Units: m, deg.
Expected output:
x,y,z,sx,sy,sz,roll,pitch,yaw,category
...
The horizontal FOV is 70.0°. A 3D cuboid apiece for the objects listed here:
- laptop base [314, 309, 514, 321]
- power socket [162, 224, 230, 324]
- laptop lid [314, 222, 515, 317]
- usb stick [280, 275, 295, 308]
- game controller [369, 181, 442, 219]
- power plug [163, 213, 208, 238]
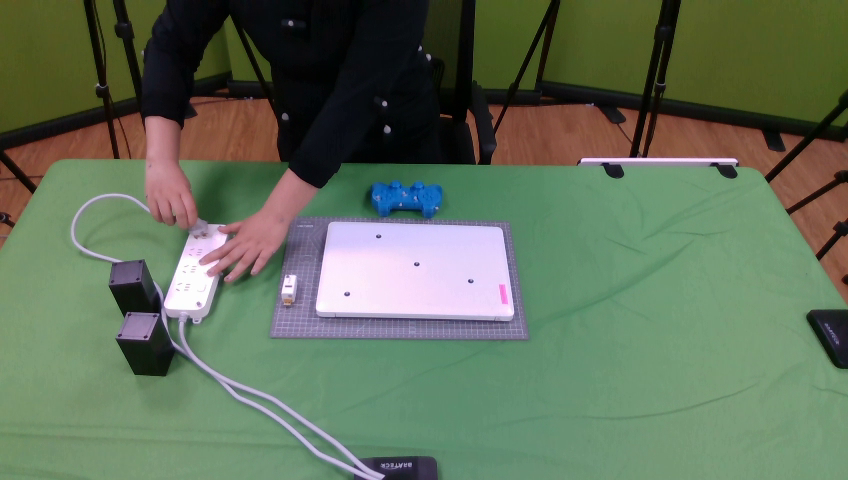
x,y,z,sx,sy,sz,roll,pitch,yaw,category
-0.017,0.059,1.141,0.354,0.023,0.234,2,43,-3,laptop base
-0.412,0.052,1.107,0.072,0.033,0.225,3,46,-4,power socket
-0.016,0.049,1.134,0.357,0.013,0.240,3,43,-2,laptop lid
-0.244,0.093,1.081,0.021,0.027,0.059,3,48,-5,usb stick
-0.039,-0.092,1.268,0.155,0.052,0.096,2,51,-2,game controller
-0.440,-0.029,1.132,0.072,0.053,0.035,14,45,8,power plug
